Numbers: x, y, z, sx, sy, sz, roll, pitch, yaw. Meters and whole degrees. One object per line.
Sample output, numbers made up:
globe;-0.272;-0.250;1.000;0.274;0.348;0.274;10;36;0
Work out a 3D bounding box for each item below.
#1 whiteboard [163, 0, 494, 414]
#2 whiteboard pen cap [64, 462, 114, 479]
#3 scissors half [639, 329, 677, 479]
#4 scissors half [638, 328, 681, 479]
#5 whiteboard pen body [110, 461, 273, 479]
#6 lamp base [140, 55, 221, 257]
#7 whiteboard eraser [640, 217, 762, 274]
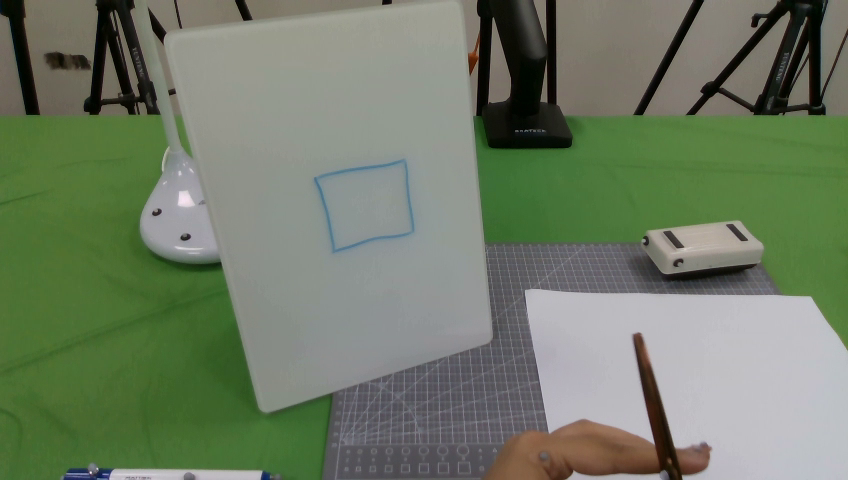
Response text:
whiteboard;-0.075;-0.042;0.539;0.218;0.307;0.142;-14;22;-17
whiteboard pen cap;-0.242;0.171;0.443;0.033;0.018;0.018;1;39;-5
scissors half;0.128;0.129;0.298;0.013;0.175;0.040;-14;-2;-2
scissors half;0.126;0.128;0.318;0.013;0.176;0.040;-14;14;-8
whiteboard pen body;-0.183;0.172;0.446;0.141;0.017;0.017;2;39;-3
lamp base;-0.250;-0.098;0.658;0.177;0.182;0.160;27;45;32
whiteboard eraser;0.295;0.007;0.650;0.113;0.042;0.055;-6;41;-9
